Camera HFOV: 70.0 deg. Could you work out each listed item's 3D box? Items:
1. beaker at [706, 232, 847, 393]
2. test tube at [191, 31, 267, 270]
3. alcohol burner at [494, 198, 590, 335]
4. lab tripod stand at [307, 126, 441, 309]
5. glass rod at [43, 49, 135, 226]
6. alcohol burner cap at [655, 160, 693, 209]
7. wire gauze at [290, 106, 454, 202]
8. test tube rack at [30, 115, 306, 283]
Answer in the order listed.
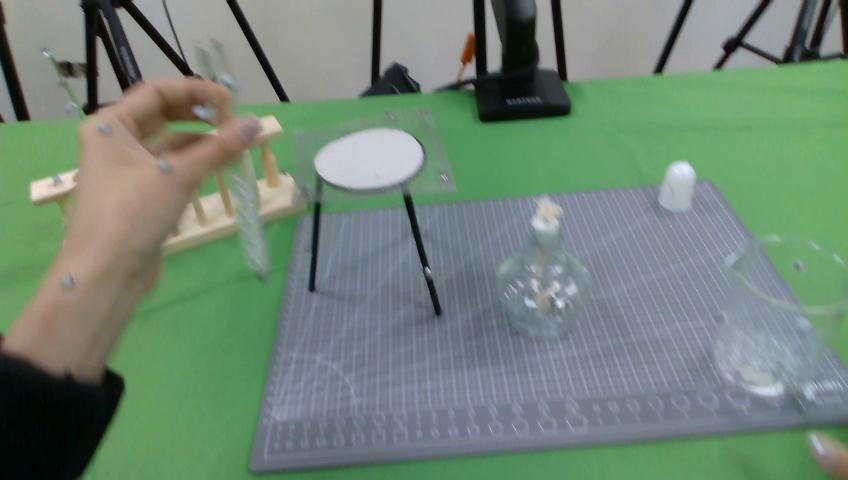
[{"bbox_3d":[0.248,0.055,0.438,0.083,0.101,0.073,9,42,18],"label":"beaker"},{"bbox_3d":[-0.111,-0.044,0.352,0.017,0.151,0.017,-1,35,1],"label":"test tube"},{"bbox_3d":[0.095,0.018,0.486,0.078,0.120,0.077,-3,38,3],"label":"alcohol burner"},{"bbox_3d":[-0.042,-0.019,0.529,0.148,0.133,0.147,-3,42,3],"label":"lab tripod stand"},{"bbox_3d":[-0.309,-0.086,0.574,0.008,0.201,0.008,-2,44,3],"label":"glass rod"},{"bbox_3d":[0.256,-0.059,0.618,0.034,0.048,0.033,-3,40,3],"label":"alcohol burner cap"},{"bbox_3d":[-0.047,-0.070,0.485,0.125,0.011,0.120,-9,40,-3],"label":"wire gauze"},{"bbox_3d":[-0.255,-0.047,0.626,0.243,0.086,0.066,-20,42,-18],"label":"test tube rack"}]
